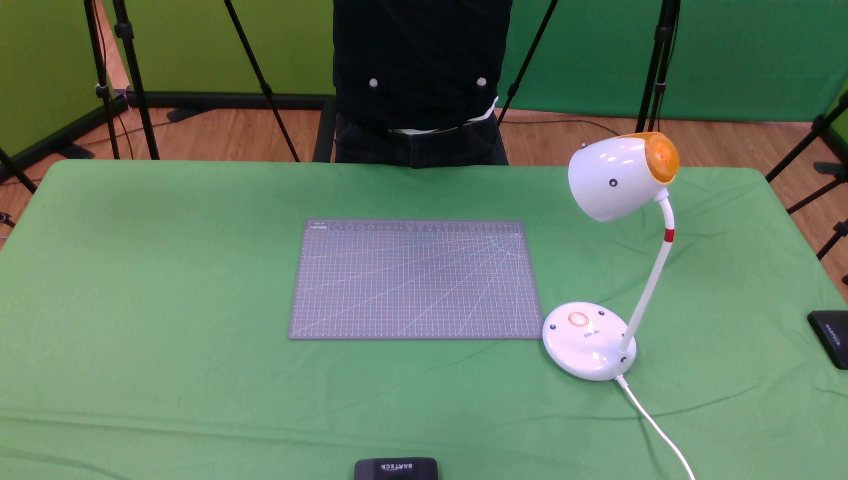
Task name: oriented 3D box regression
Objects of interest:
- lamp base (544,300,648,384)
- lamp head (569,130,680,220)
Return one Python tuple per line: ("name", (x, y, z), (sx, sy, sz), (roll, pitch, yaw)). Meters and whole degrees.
("lamp base", (0.299, 0.125, 0.983), (0.161, 0.181, 0.178), (-23, 55, -23))
("lamp head", (0.272, -0.089, 0.798), (0.113, 0.122, 0.112), (7, 78, -33))
